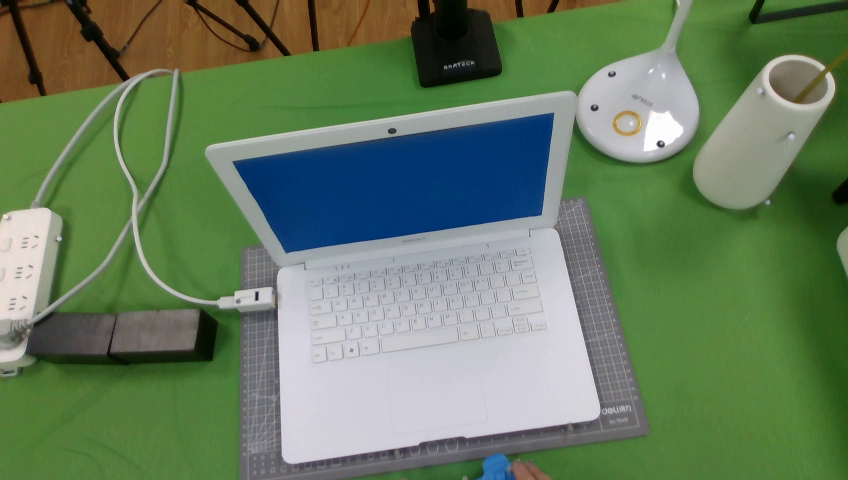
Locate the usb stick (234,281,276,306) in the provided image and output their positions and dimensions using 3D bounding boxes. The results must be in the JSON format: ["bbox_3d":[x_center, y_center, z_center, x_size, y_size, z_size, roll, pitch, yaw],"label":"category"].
[{"bbox_3d":[-0.196,0.065,0.731,0.059,0.027,0.021,-5,64,-3],"label":"usb stick"}]

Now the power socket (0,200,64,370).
[{"bbox_3d":[-0.514,0.050,0.769,0.072,0.033,0.225,-5,65,1],"label":"power socket"}]

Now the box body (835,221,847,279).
[{"bbox_3d":[0.611,0.100,0.588,0.254,0.161,0.361,-7,66,2],"label":"box body"}]

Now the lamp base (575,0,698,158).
[{"bbox_3d":[0.283,-0.221,0.746,0.160,0.181,0.178,23,67,14],"label":"lamp base"}]

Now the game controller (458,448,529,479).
[{"bbox_3d":[0.042,0.279,0.618,0.155,0.052,0.096,-20,61,-5],"label":"game controller"}]

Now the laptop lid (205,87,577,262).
[{"bbox_3d":[-0.022,-0.057,0.655,0.357,0.244,0.013,-9,59,2],"label":"laptop lid"}]

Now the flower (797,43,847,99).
[{"bbox_3d":[0.387,-0.156,0.608,0.038,0.364,0.043,6,56,-11],"label":"flower"}]

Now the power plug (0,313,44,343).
[{"bbox_3d":[-0.480,0.107,0.720,0.072,0.053,0.035,6,65,6],"label":"power plug"}]

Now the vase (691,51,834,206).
[{"bbox_3d":[0.374,-0.120,0.683,0.098,0.201,0.097,-2,64,6],"label":"vase"}]

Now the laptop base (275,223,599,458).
[{"bbox_3d":[0.004,0.110,0.710,0.354,0.023,0.233,-8,69,1],"label":"laptop base"}]
